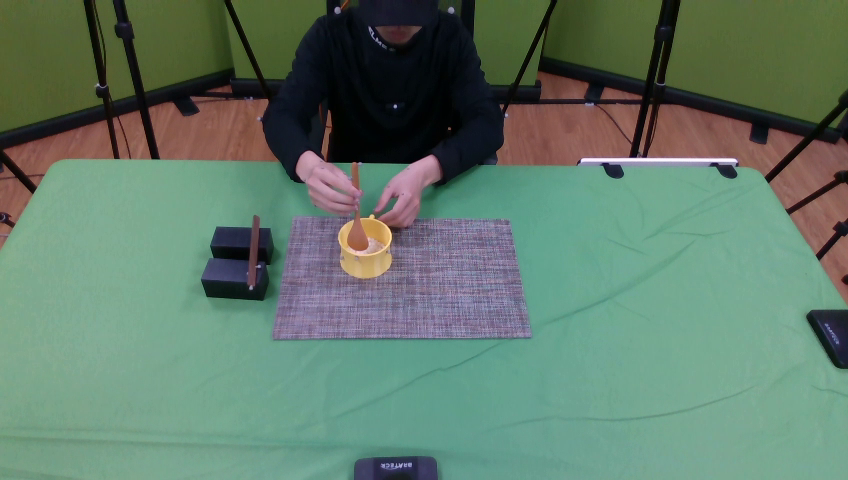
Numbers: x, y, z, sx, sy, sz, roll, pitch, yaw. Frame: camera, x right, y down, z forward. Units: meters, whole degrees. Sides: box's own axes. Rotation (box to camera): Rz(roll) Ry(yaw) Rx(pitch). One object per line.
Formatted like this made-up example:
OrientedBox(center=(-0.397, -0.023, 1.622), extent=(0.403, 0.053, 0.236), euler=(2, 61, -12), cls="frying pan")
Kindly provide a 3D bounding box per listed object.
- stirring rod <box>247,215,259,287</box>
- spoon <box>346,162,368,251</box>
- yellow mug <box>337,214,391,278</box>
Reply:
OrientedBox(center=(-0.309, 0.016, 1.097), extent=(0.014, 0.006, 0.175), euler=(24, 36, -31), cls="stirring rod")
OrientedBox(center=(-0.120, -0.054, 1.063), extent=(0.041, 0.194, 0.021), euler=(7, 36, 7), cls="spoon")
OrientedBox(center=(-0.110, 0.003, 1.152), extent=(0.100, 0.064, 0.130), euler=(7, 45, 2), cls="yellow mug")
